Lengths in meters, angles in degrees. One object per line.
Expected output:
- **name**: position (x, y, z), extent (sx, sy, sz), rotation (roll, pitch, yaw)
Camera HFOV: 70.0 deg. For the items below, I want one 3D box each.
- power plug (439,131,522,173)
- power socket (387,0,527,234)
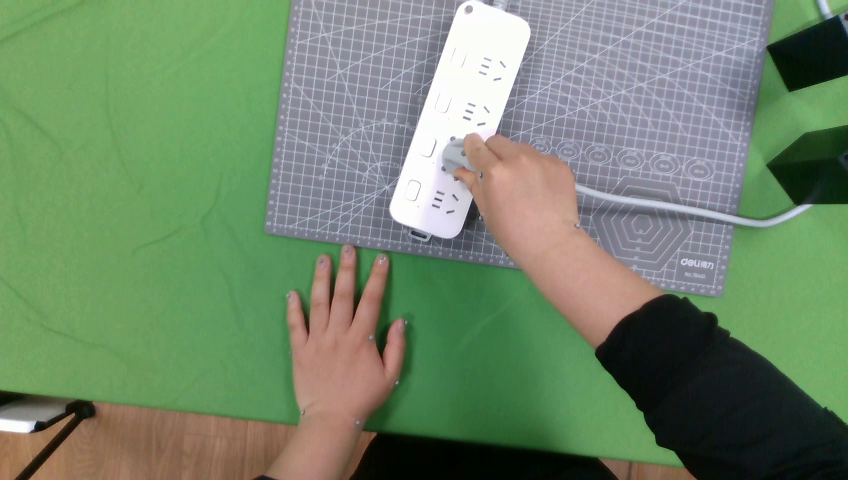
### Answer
- **power plug**: position (0.046, -0.069, 0.544), extent (0.072, 0.052, 0.035), rotation (36, 91, -3)
- **power socket**: position (0.029, -0.114, 0.558), extent (0.072, 0.032, 0.227), rotation (19, 94, -4)
